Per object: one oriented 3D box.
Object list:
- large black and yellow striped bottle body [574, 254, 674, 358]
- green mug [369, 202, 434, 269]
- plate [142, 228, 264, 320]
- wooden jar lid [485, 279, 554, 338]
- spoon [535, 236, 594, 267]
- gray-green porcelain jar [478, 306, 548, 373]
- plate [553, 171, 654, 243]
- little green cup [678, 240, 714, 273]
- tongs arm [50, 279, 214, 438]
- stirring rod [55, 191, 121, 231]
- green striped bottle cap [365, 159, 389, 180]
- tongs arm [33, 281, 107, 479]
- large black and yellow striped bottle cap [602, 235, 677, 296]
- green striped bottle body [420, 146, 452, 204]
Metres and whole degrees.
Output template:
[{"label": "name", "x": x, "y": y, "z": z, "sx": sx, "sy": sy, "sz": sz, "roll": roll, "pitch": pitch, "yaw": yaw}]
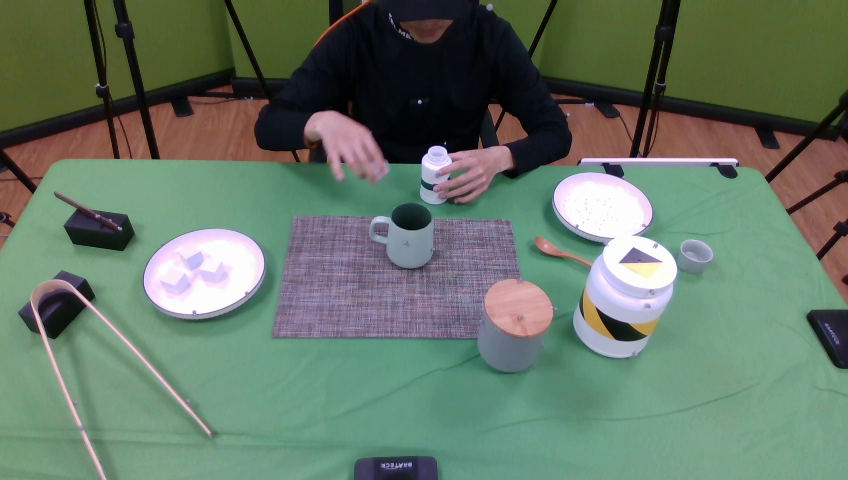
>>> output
[{"label": "large black and yellow striped bottle body", "x": 0.335, "y": 0.096, "z": 1.014, "sx": 0.131, "sy": 0.185, "sz": 0.130, "roll": 2, "pitch": 46, "yaw": -2}, {"label": "green mug", "x": -0.042, "y": -0.010, "z": 1.140, "sx": 0.125, "sy": 0.105, "sz": 0.092, "roll": 7, "pitch": 47, "yaw": 3}, {"label": "plate", "x": -0.394, "y": 0.064, "z": 1.095, "sx": 0.208, "sy": 0.039, "sz": 0.206, "roll": 2, "pitch": 46, "yaw": -2}, {"label": "wooden jar lid", "x": 0.147, "y": 0.108, "z": 0.940, "sx": 0.108, "sy": 0.021, "sz": 0.107, "roll": 4, "pitch": 47, "yaw": -4}, {"label": "spoon", "x": 0.303, "y": 0.040, "z": 1.178, "sx": 0.193, "sy": 0.022, "sz": 0.041, "roll": 25, "pitch": 31, "yaw": 19}, {"label": "gray-green porcelain jar", "x": 0.144, "y": 0.148, "z": 0.989, "sx": 0.106, "sy": 0.127, "sz": 0.105, "roll": 2, "pitch": 50, "yaw": -2}, {"label": "plate", "x": 0.373, "y": -0.066, "z": 1.275, "sx": 0.209, "sy": 0.038, "sz": 0.208, "roll": 2, "pitch": 46, "yaw": -2}, {"label": "little green cup", "x": 0.530, "y": 0.033, "z": 1.190, "sx": 0.061, "sy": 0.039, "sz": 0.061, "roll": 2, "pitch": 46, "yaw": -1}, {"label": "tongs arm", "x": -0.459, "y": 0.178, "z": 0.949, "sx": 0.386, "sy": 0.028, "sz": 0.028, "roll": 37, "pitch": 60, "yaw": 17}, {"label": "stirring rod", "x": -0.632, "y": -0.055, "z": 1.138, "sx": 0.175, "sy": 0.014, "sz": 0.006, "roll": 24, "pitch": 50, "yaw": 19}, {"label": "green striped bottle cap", "x": -0.090, "y": -0.135, "z": 1.157, "sx": 0.044, "sy": 0.020, "sz": 0.044, "roll": -10, "pitch": 43, "yaw": 10}, {"label": "tongs arm", "x": -0.517, "y": 0.214, "z": 0.909, "sx": 0.051, "sy": 0.026, "sz": 0.383, "roll": -28, "pitch": 63, "yaw": -27}, {"label": "large black and yellow striped bottle cap", "x": 0.340, "y": 0.037, "z": 0.955, "sx": 0.115, "sy": 0.019, "sz": 0.114, "roll": 2, "pitch": 47, "yaw": -1}, {"label": "green striped bottle body", "x": 0.025, "y": -0.137, "z": 1.262, "sx": 0.063, "sy": 0.120, "sz": 0.063, "roll": 2, "pitch": 45, "yaw": -2}]
